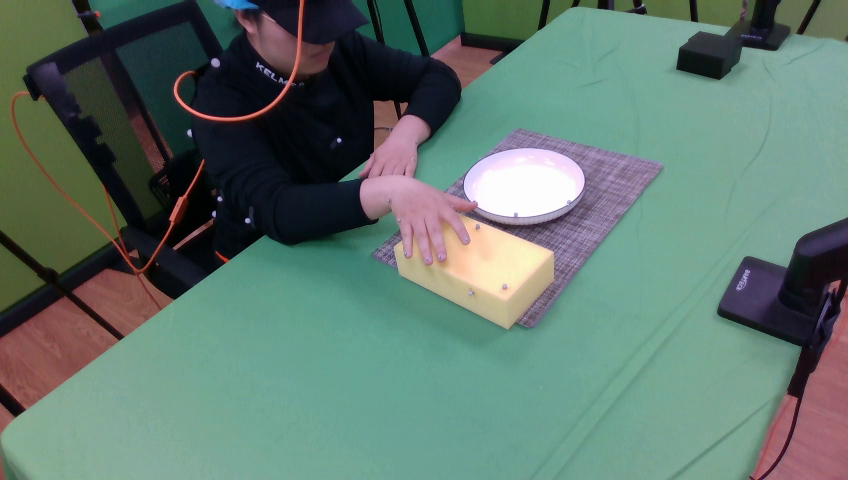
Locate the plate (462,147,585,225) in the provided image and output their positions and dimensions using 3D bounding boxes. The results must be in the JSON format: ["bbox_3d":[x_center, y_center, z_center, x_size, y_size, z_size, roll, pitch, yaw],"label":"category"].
[{"bbox_3d":[0.170,-0.089,1.041,0.207,0.039,0.206,-5,40,5],"label":"plate"}]

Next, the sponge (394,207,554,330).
[{"bbox_3d":[0.073,0.035,0.895,0.205,0.061,0.118,24,50,33],"label":"sponge"}]
